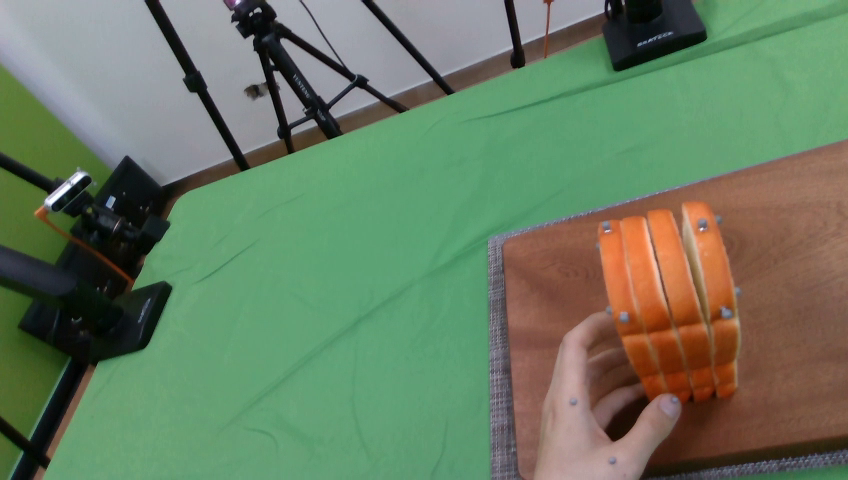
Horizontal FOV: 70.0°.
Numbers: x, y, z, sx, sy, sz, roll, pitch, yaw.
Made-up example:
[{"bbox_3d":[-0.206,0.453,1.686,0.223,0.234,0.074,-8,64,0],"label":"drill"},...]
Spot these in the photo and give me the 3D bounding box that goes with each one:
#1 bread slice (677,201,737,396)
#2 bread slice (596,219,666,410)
[{"bbox_3d":[0.204,0.038,0.439,0.019,0.133,0.104,-10,48,17],"label":"bread slice"},{"bbox_3d":[0.156,0.048,0.459,0.018,0.136,0.106,-15,42,22],"label":"bread slice"}]
